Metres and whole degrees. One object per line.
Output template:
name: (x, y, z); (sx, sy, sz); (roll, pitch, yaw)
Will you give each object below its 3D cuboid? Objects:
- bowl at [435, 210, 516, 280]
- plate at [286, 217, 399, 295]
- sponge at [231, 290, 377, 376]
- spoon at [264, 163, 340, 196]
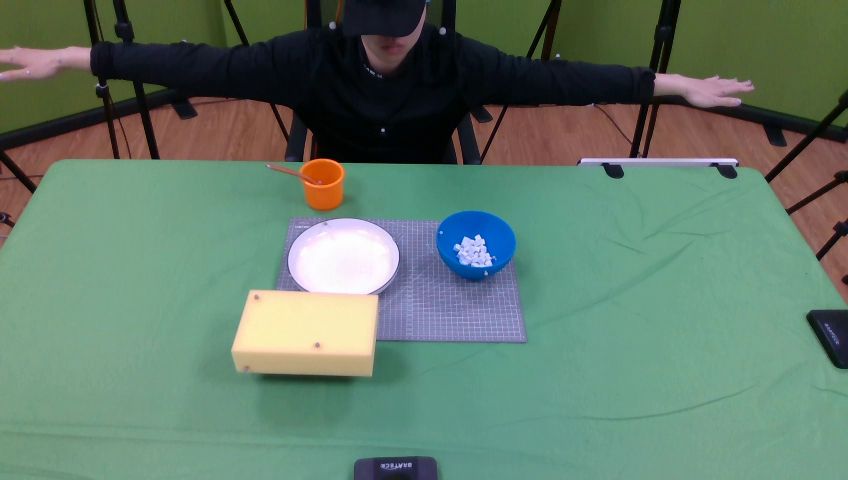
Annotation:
bowl: (0.093, 0.022, 1.141); (0.151, 0.077, 0.150); (2, 46, -2)
plate: (-0.150, 0.041, 1.131); (0.209, 0.038, 0.208); (2, 45, -2)
sponge: (-0.180, 0.144, 0.949); (0.207, 0.061, 0.117); (2, 46, -2)
spoon: (-0.241, -0.123, 1.211); (0.021, 0.195, 0.041); (-49, 54, 12)
